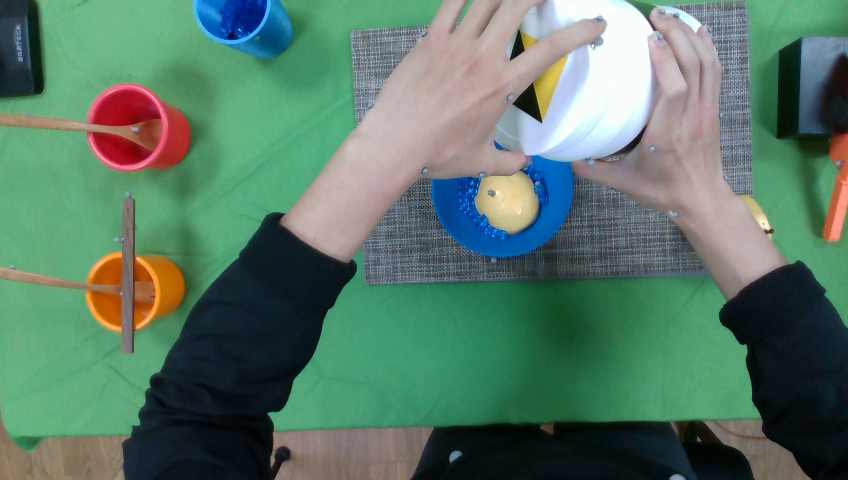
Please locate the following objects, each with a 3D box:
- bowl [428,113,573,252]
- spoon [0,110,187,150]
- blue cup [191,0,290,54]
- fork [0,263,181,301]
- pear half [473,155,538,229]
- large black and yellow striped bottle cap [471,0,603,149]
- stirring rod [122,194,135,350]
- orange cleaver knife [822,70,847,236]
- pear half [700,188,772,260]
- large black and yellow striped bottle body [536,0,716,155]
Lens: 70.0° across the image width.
[{"bbox_3d":[0.083,-0.063,0.671,0.151,0.077,0.151,0,93,6],"label":"bowl"},{"bbox_3d":[-0.370,-0.129,0.681,0.195,0.021,0.041,1,96,-38],"label":"spoon"},{"bbox_3d":[-0.196,-0.252,0.679,0.092,0.100,0.092,0,93,8],"label":"blue cup"},{"bbox_3d":[-0.383,0.046,0.687,0.209,0.018,0.028,13,106,-39],"label":"fork"},{"bbox_3d":[0.088,-0.056,0.666,0.070,0.031,0.088,-29,86,3],"label":"pear half"},{"bbox_3d":[0.081,-0.127,0.460,0.114,0.019,0.115,15,111,46],"label":"large black and yellow striped bottle cap"},{"bbox_3d":[-0.332,0.036,0.680,0.014,0.006,0.176,2,94,3],"label":"stirring rod"},{"bbox_3d":[0.444,-0.106,0.638,0.012,0.076,0.213,0,121,11],"label":"orange cleaver knife"},{"bbox_3d":[0.327,-0.014,0.636,0.056,0.110,0.076,-22,87,7],"label":"pear half"},{"bbox_3d":[0.146,-0.140,0.513,0.129,0.185,0.131,16,111,47],"label":"large black and yellow striped bottle body"}]
